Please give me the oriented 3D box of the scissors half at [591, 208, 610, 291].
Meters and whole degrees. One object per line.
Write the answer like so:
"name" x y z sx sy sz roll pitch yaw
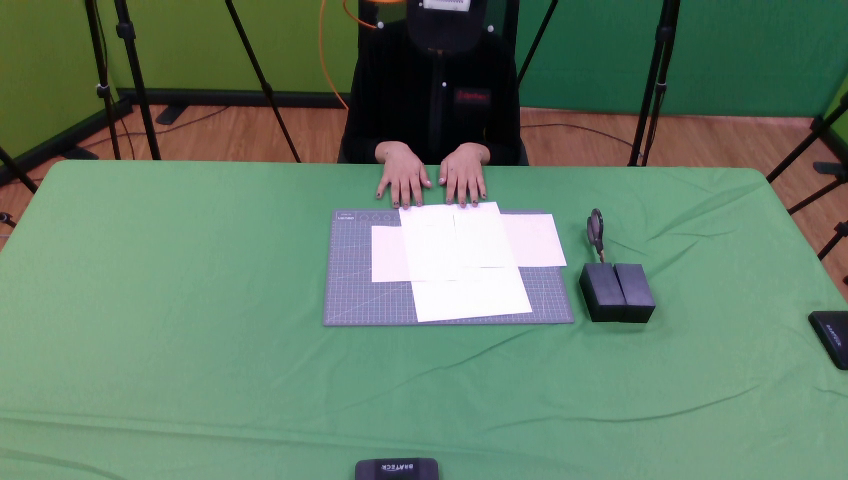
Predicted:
"scissors half" 0.346 0.016 1.178 0.013 0.040 0.174 -1 70 -3

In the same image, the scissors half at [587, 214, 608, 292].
"scissors half" 0.344 0.025 1.195 0.013 0.040 0.174 2 56 -8
